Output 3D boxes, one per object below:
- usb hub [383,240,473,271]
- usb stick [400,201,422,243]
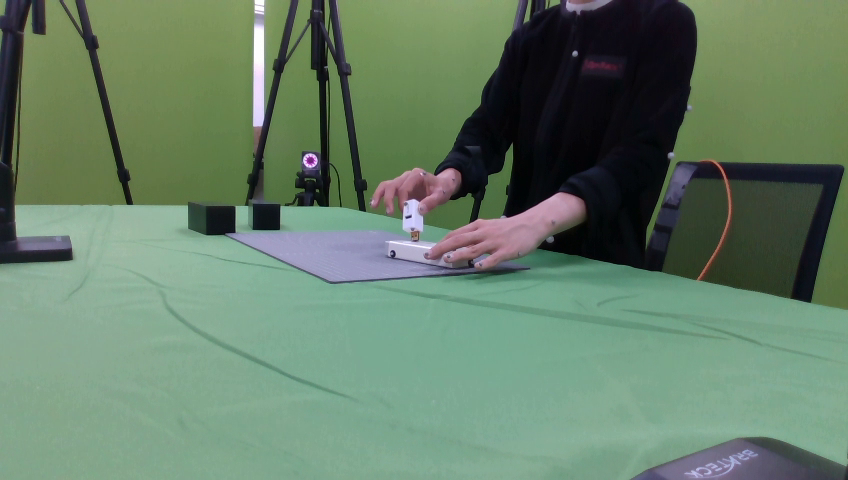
[{"bbox_3d":[0.004,0.020,0.842,0.124,0.025,0.050,9,11,39],"label":"usb hub"},{"bbox_3d":[-0.019,-0.025,0.870,0.021,0.059,0.027,-8,-20,33],"label":"usb stick"}]
